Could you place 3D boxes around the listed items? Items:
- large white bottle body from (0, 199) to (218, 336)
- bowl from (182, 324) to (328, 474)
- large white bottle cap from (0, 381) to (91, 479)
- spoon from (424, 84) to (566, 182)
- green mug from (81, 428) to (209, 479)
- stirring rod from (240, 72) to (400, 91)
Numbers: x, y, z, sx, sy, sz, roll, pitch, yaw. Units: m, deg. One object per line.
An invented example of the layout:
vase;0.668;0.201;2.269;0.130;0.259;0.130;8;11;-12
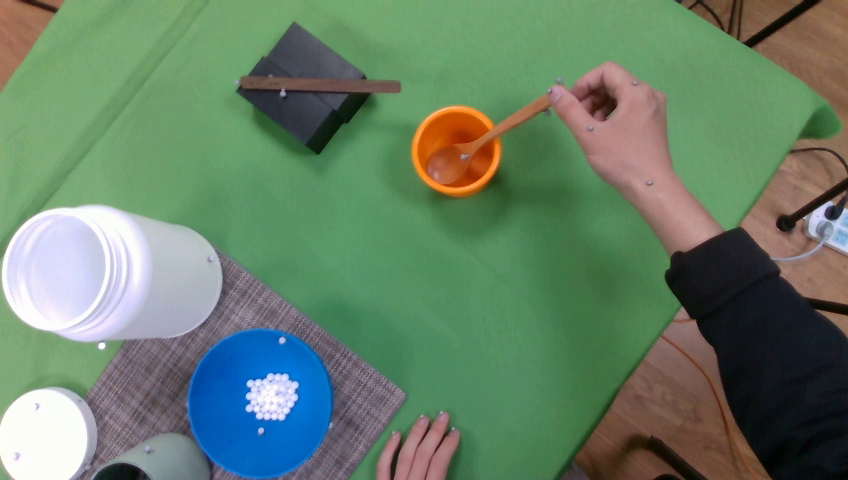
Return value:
large white bottle body;-0.311;0.031;0.615;0.130;0.185;0.130;-1;83;9
bowl;-0.168;0.162;0.646;0.151;0.077;0.151;0;87;6
large white bottle cap;-0.443;0.222;0.699;0.115;0.018;0.114;0;85;6
spoon;0.065;-0.106;0.610;0.022;0.193;0.041;-8;78;-39
green mug;-0.278;0.256;0.637;0.125;0.105;0.092;10;86;6
stirring rod;-0.113;-0.170;0.649;0.176;0.006;0.014;4;121;6
